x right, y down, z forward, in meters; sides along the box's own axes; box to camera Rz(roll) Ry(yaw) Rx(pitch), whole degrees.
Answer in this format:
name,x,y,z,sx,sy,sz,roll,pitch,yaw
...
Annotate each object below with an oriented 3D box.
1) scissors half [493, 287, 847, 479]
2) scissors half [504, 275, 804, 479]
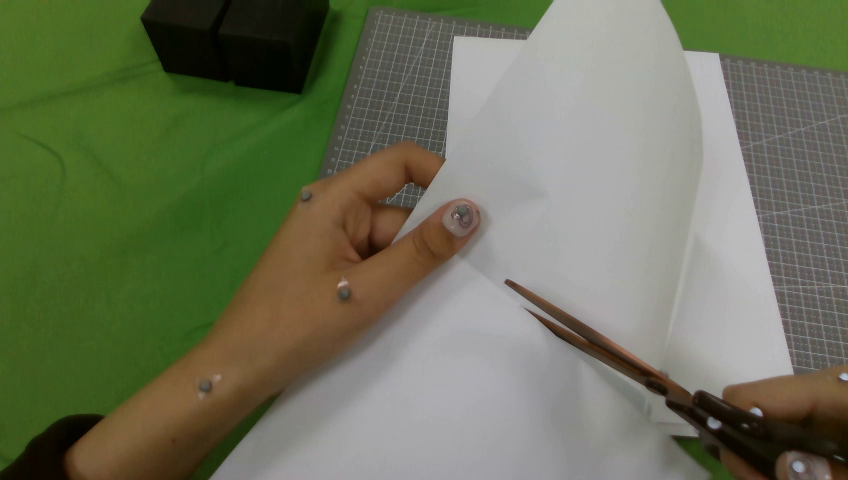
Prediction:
name,x,y,z,sx,sy,sz,roll,pitch,yaw
scissors half,0.103,0.058,0.231,0.174,0.040,0.013,27,71,20
scissors half,0.101,0.064,0.255,0.176,0.040,0.013,36,76,-14
